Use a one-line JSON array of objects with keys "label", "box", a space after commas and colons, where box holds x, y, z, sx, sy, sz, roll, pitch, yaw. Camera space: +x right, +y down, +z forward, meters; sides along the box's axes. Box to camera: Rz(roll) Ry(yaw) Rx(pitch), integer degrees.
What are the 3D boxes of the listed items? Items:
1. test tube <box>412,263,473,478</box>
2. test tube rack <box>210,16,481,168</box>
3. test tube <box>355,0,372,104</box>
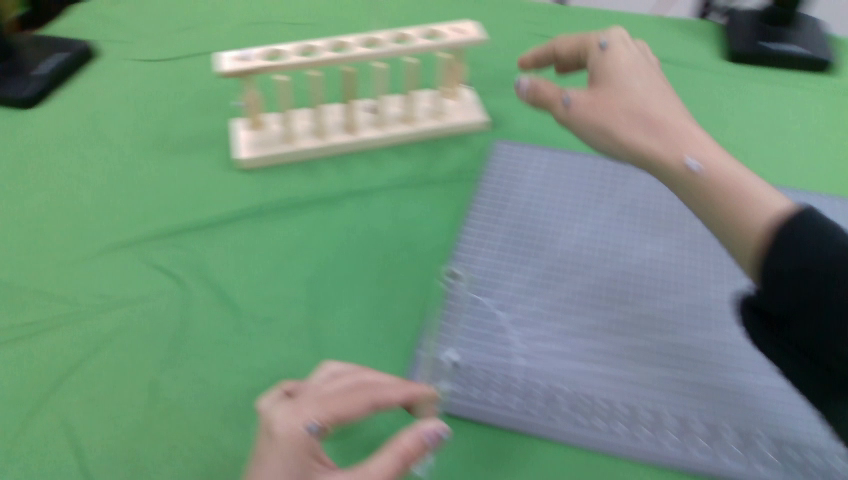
[{"label": "test tube", "box": [0.007, 0.072, 0.296, 0.017, 0.151, 0.017, 4, 38, -3]}, {"label": "test tube rack", "box": [-0.068, -0.143, 0.579, 0.243, 0.086, 0.066, -12, 48, -11]}, {"label": "test tube", "box": [-0.056, -0.195, 0.558, 0.017, 0.151, 0.017, 3, 40, -2]}]
